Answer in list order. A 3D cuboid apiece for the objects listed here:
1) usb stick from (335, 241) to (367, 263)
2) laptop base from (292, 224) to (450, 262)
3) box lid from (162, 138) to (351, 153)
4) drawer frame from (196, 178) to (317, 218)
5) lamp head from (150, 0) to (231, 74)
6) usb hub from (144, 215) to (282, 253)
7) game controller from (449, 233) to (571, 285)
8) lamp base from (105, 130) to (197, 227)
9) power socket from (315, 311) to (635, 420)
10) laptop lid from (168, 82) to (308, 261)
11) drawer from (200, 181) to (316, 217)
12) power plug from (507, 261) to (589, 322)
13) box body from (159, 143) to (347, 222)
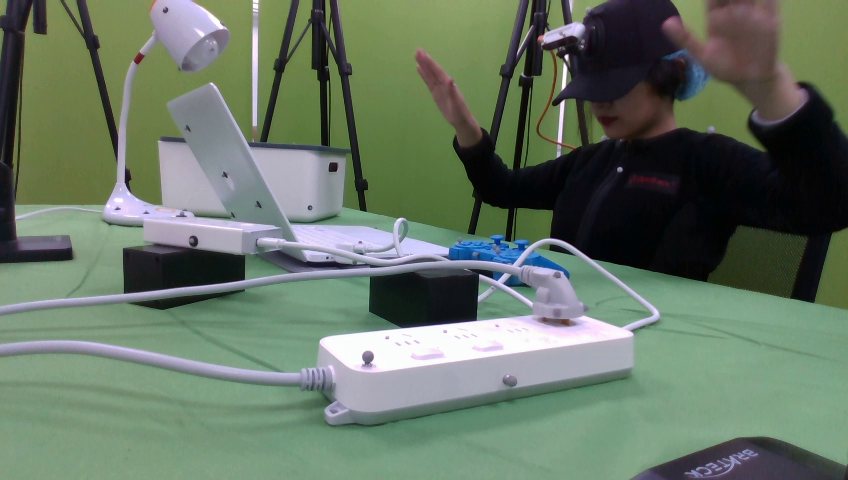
[{"bbox_3d":[-0.093,0.014,0.742,0.021,0.027,0.059,-4,1,-34],"label":"usb stick"},{"bbox_3d":[-0.127,0.002,0.946,0.237,0.023,0.352,2,6,-31],"label":"laptop base"},{"bbox_3d":[-0.371,-0.215,1.394,0.371,0.015,0.263,4,8,7],"label":"box lid"},{"bbox_3d":[-0.376,-0.101,1.393,0.213,0.082,0.202,1,8,6],"label":"drawer frame"},{"bbox_3d":[-0.432,-0.375,1.086,0.123,0.112,0.112,42,8,-2],"label":"lamp head"},{"bbox_3d":[-0.200,-0.006,0.573,0.125,0.025,0.050,6,7,23],"label":"usb hub"},{"bbox_3d":[0.101,0.021,0.760,0.097,0.051,0.154,-7,10,-30],"label":"game controller"},{"bbox_3d":[-0.532,-0.120,1.153,0.179,0.180,0.161,1,7,8],"label":"lamp base"},{"bbox_3d":[0.039,0.072,0.385,0.228,0.032,0.072,-2,7,-29],"label":"power socket"},{"bbox_3d":[-0.273,-0.094,0.844,0.013,0.242,0.355,-33,24,-22],"label":"laptop lid"},{"bbox_3d":[-0.372,-0.097,1.393,0.212,0.073,0.194,1,9,6],"label":"drawer"},{"bbox_3d":[0.091,0.043,0.444,0.035,0.052,0.072,-1,5,-18],"label":"power plug"},{"bbox_3d":[-0.384,-0.137,1.406,0.364,0.160,0.254,3,8,7],"label":"box body"}]
